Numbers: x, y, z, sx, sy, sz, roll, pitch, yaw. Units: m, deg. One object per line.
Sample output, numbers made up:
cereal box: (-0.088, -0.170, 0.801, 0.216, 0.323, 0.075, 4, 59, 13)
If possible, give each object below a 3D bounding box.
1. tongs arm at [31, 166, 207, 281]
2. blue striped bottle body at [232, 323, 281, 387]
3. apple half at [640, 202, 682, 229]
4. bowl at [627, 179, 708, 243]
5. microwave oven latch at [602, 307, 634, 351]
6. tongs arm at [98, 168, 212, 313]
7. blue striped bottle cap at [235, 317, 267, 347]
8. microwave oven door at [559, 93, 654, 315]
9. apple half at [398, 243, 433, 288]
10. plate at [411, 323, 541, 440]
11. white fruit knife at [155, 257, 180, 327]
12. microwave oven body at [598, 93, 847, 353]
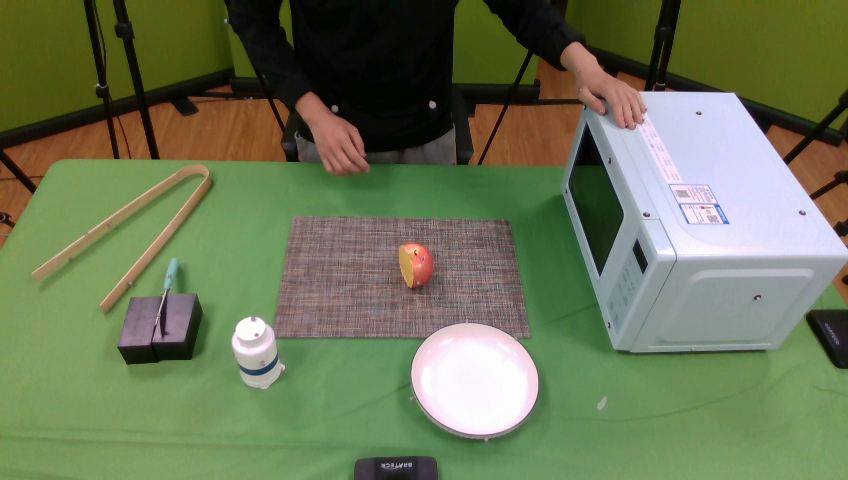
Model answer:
tongs arm: (-0.578, -0.040, 1.185, 0.050, 0.026, 0.384, 23, 48, 17)
blue striped bottle body: (-0.262, 0.172, 0.944, 0.063, 0.121, 0.062, 2, 46, -2)
apple half: (0.455, -0.054, 1.161, 0.081, 0.033, 0.081, -4, 34, 3)
bowl: (0.455, -0.047, 1.168, 0.151, 0.077, 0.150, 7, 36, -5)
microwave oven latch: (0.332, 0.153, 1.044, 0.030, 0.029, 0.078, -1, 45, -4)
tongs arm: (-0.504, -0.012, 1.167, 0.028, 0.028, 0.385, 11, 46, 11)
blue striped bottle cap: (-0.259, 0.137, 0.907, 0.044, 0.021, 0.044, 3, 43, -2)
microwave oven door: (0.327, -0.074, 1.123, 0.039, 0.245, 0.353, -1, 46, -5)
apple half: (-0.012, 0.046, 1.115, 0.053, 0.075, 0.080, -11, 44, -19)
plate: (0.082, 0.228, 0.976, 0.208, 0.039, 0.206, 2, 45, -2)
white fruit knife: (-0.440, 0.085, 1.037, 0.016, 0.027, 0.206, 10, 26, -19)
microwave oven body: (0.475, -0.041, 1.109, 0.326, 0.261, 0.438, -1, 45, -4)
